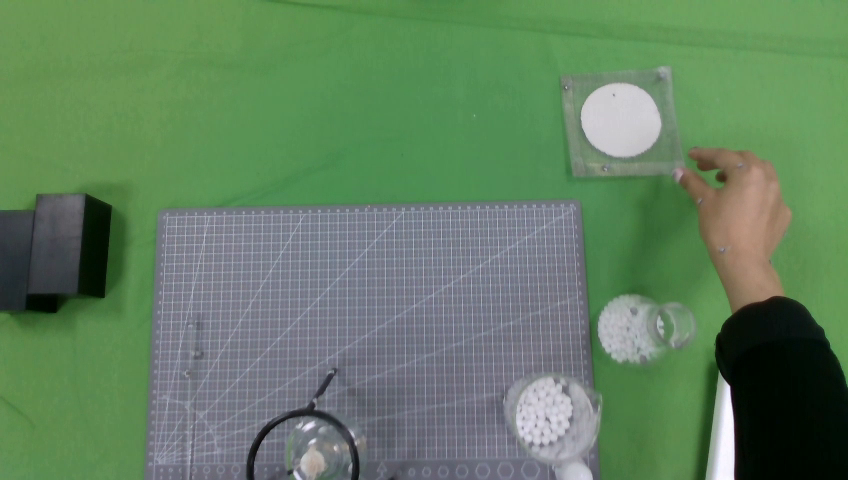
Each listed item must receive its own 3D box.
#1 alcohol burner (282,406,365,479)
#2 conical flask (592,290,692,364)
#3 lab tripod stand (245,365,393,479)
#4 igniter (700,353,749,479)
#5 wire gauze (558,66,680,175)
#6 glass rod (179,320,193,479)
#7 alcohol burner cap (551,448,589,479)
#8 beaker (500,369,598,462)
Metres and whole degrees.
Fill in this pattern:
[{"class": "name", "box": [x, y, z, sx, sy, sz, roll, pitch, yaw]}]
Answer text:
[{"class": "alcohol burner", "box": [-0.095, 0.192, 0.551, 0.078, 0.119, 0.077, 0, 79, 3]}, {"class": "conical flask", "box": [0.208, 0.079, 0.566, 0.075, 0.122, 0.075, 0, 80, 1]}, {"class": "lab tripod stand", "box": [-0.098, 0.190, 0.541, 0.148, 0.132, 0.148, 0, 82, 1]}, {"class": "igniter", "box": [0.280, 0.248, 0.586, 0.057, 0.025, 0.275, 14, 81, -7]}, {"class": "wire gauze", "box": [0.213, -0.129, 0.659, 0.125, 0.011, 0.121, -2, 81, -2]}, {"class": "glass rod", "box": [-0.239, 0.180, 0.607, 0.008, 0.008, 0.199, 0, 83, 0]}, {"class": "alcohol burner cap", "box": [0.142, 0.220, 0.581, 0.034, 0.048, 0.033, 0, 80, 0]}, {"class": "beaker", "box": [0.112, 0.156, 0.563, 0.084, 0.100, 0.073, -25, 81, -4]}]
